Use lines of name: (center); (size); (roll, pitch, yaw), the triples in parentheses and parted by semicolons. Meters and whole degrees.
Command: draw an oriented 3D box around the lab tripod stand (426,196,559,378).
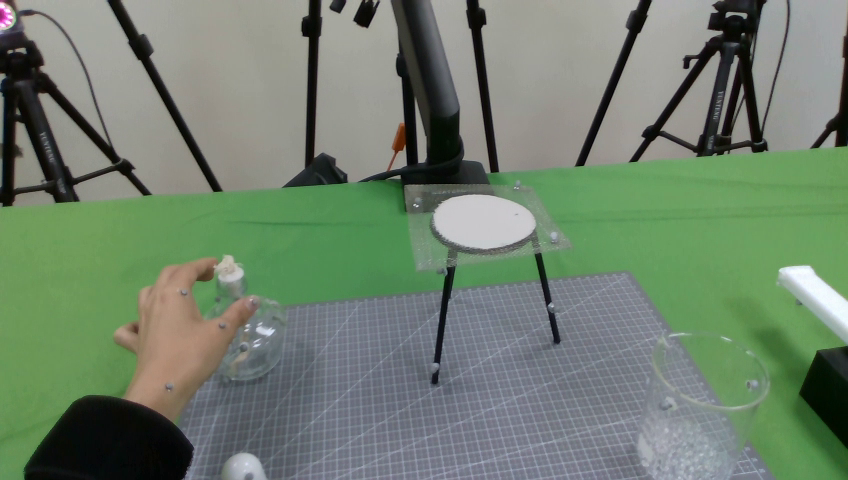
lab tripod stand: (0.053, 0.037, 0.544); (0.148, 0.132, 0.147); (0, 32, 0)

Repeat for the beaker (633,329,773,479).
beaker: (0.191, 0.124, 0.435); (0.074, 0.101, 0.083); (-15, 35, -19)

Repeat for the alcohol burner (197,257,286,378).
alcohol burner: (-0.162, 0.063, 0.531); (0.078, 0.120, 0.077); (0, 35, 0)

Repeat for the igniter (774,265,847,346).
igniter: (0.357, 0.098, 0.454); (0.057, 0.025, 0.274); (-5, 30, -3)

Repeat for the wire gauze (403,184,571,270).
wire gauze: (0.046, -0.018, 0.504); (0.121, 0.011, 0.124); (-4, 33, -6)

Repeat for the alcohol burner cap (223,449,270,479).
alcohol burner cap: (-0.126, 0.170, 0.432); (0.034, 0.048, 0.033); (0, 34, 1)
